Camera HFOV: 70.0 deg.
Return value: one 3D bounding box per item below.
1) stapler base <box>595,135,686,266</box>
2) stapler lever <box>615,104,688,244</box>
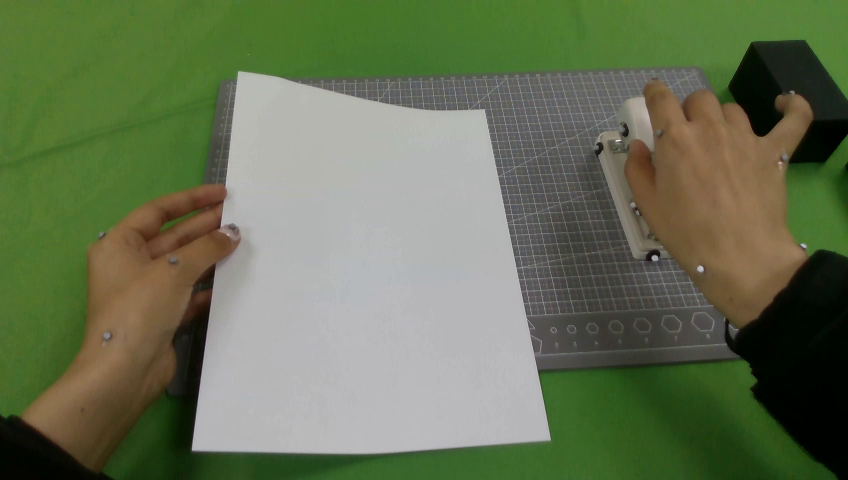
[{"bbox_3d":[0.171,-0.040,0.479,0.041,0.024,0.129,-5,56,-2],"label":"stapler base"},{"bbox_3d":[0.172,-0.053,0.458,0.027,0.040,0.117,-5,56,-2],"label":"stapler lever"}]
